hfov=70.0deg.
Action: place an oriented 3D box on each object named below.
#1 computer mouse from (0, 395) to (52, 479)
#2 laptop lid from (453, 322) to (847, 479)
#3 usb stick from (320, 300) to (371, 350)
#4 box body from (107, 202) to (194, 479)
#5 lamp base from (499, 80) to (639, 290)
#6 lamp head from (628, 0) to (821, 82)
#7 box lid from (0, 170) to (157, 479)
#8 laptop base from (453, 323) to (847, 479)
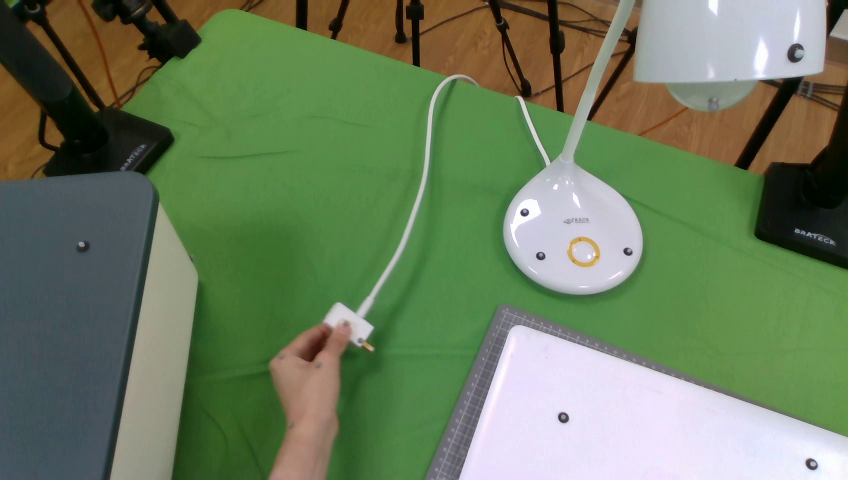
[{"bbox_3d":[-0.391,0.185,0.559,0.063,0.041,0.116,-30,23,-7],"label":"computer mouse"},{"bbox_3d":[0.209,0.230,0.547,0.355,0.013,0.240,19,63,11],"label":"laptop lid"},{"bbox_3d":[-0.074,0.088,0.614,0.059,0.021,0.027,42,69,-11],"label":"usb stick"},{"bbox_3d":[-0.361,0.139,0.528,0.254,0.161,0.360,-4,59,-3],"label":"box body"},{"bbox_3d":[0.163,-0.064,0.643,0.161,0.182,0.177,-14,57,-8],"label":"lamp base"},{"bbox_3d":[0.184,-0.162,0.376,0.112,0.112,0.123,-7,103,-4],"label":"lamp head"},{"bbox_3d":[-0.361,0.099,0.466,0.263,0.015,0.368,-4,60,-2],"label":"box lid"},{"bbox_3d":[0.210,0.234,0.558,0.353,0.023,0.234,18,64,10],"label":"laptop base"}]
